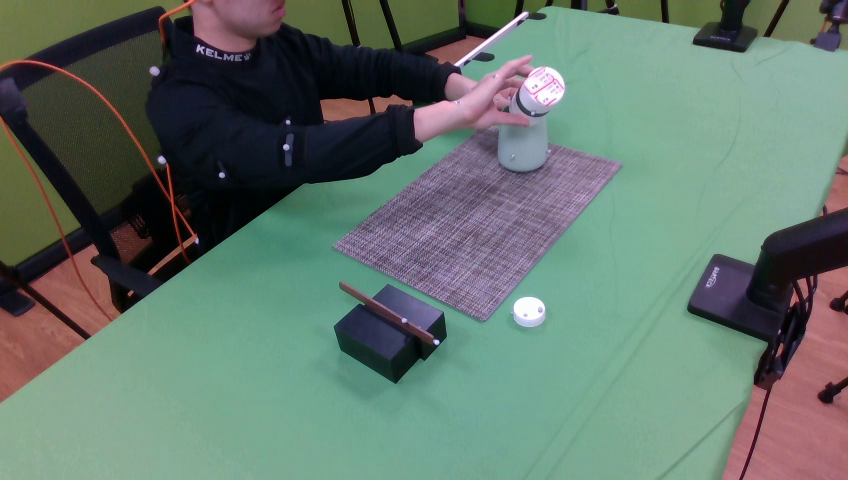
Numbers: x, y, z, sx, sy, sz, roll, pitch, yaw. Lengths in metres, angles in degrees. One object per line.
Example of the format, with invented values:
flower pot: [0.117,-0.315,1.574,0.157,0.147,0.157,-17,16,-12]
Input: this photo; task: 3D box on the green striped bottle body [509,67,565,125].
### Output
green striped bottle body: [0.179,-0.228,0.984,0.063,0.119,0.063,2,80,-9]

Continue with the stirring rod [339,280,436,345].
stirring rod: [-0.052,0.093,0.795,0.174,0.014,0.006,27,47,33]

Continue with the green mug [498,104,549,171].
green mug: [0.182,-0.197,1.101,0.092,0.105,0.125,3,42,12]

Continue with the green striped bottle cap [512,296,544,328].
green striped bottle cap: [0.144,0.099,0.837,0.044,0.020,0.044,-2,44,2]
